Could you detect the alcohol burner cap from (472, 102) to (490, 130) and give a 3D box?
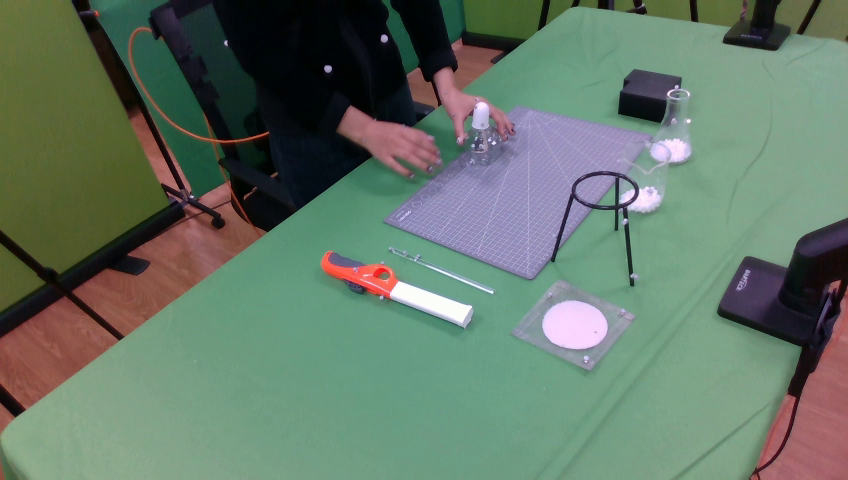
[{"bbox_3d":[0.105,-0.228,1.102,0.034,0.048,0.033,0,40,0],"label":"alcohol burner cap"}]

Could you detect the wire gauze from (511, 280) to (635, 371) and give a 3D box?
[{"bbox_3d":[0.203,0.114,0.822,0.120,0.011,0.125,25,52,35],"label":"wire gauze"}]

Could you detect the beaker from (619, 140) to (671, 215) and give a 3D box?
[{"bbox_3d":[0.352,-0.096,0.971,0.074,0.101,0.084,1,42,13],"label":"beaker"}]

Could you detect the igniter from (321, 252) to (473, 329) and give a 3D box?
[{"bbox_3d":[-0.051,0.071,0.906,0.274,0.025,0.057,19,58,29],"label":"igniter"}]

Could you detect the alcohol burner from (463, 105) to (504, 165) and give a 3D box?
[{"bbox_3d":[0.109,-0.201,1.126,0.078,0.119,0.077,-5,42,5],"label":"alcohol burner"}]

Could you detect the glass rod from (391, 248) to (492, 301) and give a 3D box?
[{"bbox_3d":[0.023,0.050,0.935,0.198,0.008,0.008,25,52,32],"label":"glass rod"}]

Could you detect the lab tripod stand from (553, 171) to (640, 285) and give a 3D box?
[{"bbox_3d":[0.260,-0.025,0.877,0.148,0.132,0.147,-6,38,5],"label":"lab tripod stand"}]

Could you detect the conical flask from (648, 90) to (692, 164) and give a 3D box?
[{"bbox_3d":[0.437,-0.199,1.057,0.075,0.122,0.075,-5,40,5],"label":"conical flask"}]
